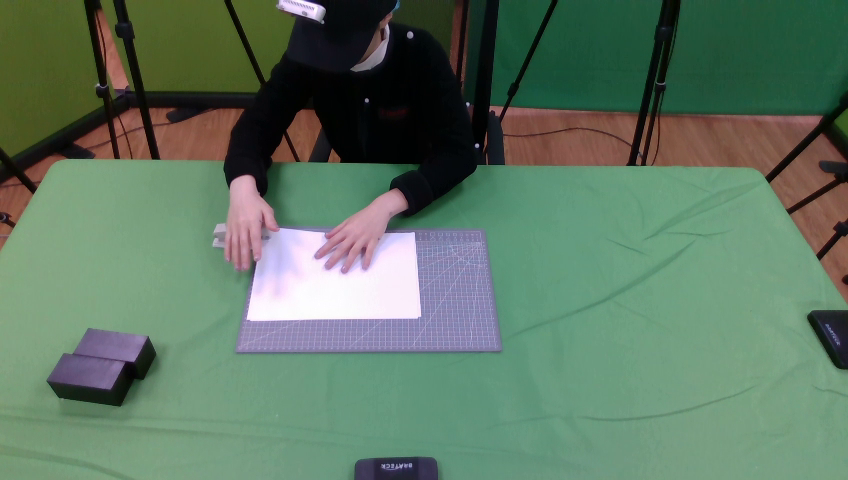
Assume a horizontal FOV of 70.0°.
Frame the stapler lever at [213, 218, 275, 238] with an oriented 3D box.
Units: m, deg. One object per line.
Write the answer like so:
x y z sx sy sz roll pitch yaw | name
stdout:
-0.342 -0.022 1.154 0.118 0.040 0.026 2 43 2 | stapler lever

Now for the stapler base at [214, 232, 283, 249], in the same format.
-0.341 -0.005 1.171 0.130 0.024 0.041 1 43 3 | stapler base
